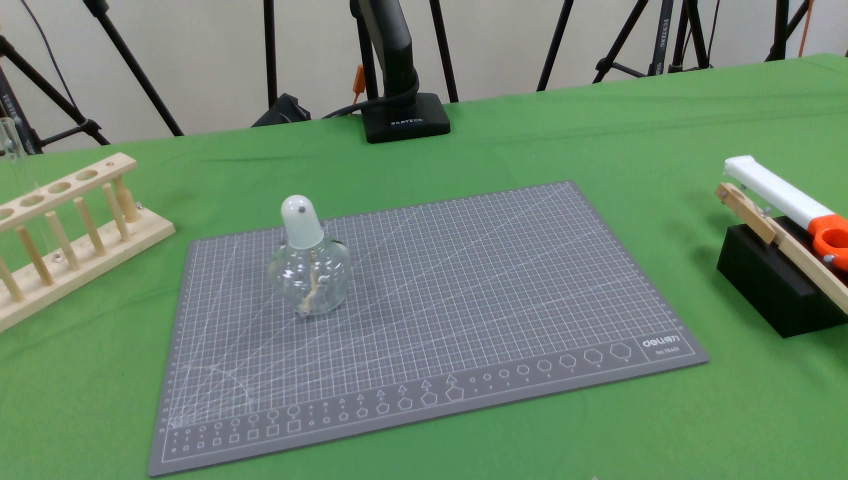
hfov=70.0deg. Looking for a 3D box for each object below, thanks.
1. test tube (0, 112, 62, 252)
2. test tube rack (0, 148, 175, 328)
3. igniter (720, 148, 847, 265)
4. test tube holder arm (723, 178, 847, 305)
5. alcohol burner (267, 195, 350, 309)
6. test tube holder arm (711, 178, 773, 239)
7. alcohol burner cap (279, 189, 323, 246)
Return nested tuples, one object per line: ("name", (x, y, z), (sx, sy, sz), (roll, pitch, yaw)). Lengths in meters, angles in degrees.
("test tube", (-0.391, -0.053, 0.600), (0.017, 0.151, 0.017), (-2, 32, 1))
("test tube rack", (-0.386, 0.002, 0.610), (0.066, 0.086, 0.242), (24, 46, 31))
("igniter", (0.358, -0.015, 0.538), (0.057, 0.025, 0.273), (-11, 35, -7))
("test tube holder arm", (0.315, -0.005, 0.535), (0.013, 0.015, 0.176), (-5, 38, -13))
("alcohol burner", (-0.108, 0.006, 0.554), (0.078, 0.120, 0.077), (-1, 39, 1))
("test tube holder arm", (0.299, -0.031, 0.568), (0.010, 0.015, 0.087), (-5, 38, -12))
("alcohol burner cap", (-0.110, -0.023, 0.532), (0.034, 0.048, 0.033), (-4, 40, 4))
